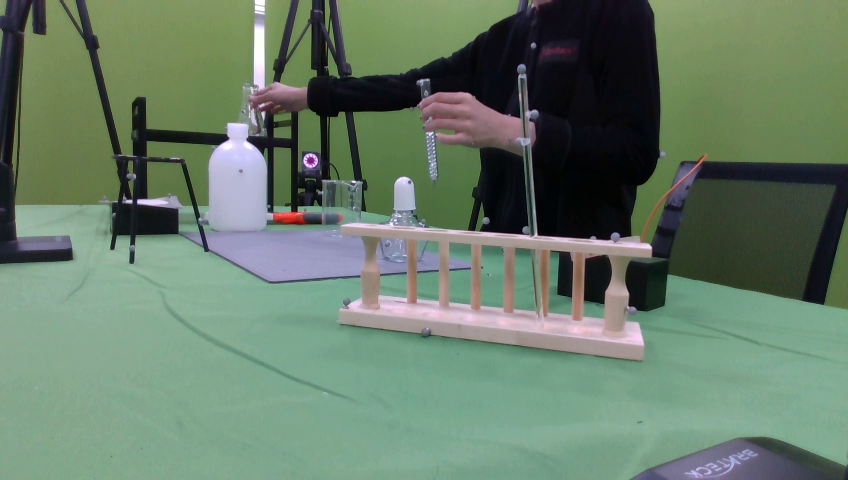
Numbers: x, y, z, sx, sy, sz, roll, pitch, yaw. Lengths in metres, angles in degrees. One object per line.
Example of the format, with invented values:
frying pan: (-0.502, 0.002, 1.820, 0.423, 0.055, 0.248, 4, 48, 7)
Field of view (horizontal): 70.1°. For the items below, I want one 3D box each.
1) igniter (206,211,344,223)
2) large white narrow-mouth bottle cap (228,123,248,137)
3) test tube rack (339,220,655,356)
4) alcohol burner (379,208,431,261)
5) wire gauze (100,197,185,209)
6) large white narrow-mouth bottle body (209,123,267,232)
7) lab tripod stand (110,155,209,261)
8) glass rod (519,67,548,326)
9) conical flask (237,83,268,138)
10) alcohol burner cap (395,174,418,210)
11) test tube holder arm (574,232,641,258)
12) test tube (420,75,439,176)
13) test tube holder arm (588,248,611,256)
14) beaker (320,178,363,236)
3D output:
igniter: (-0.302, -0.048, 1.249, 0.278, 0.025, 0.057, -2, -2, -26)
large white narrow-mouth bottle cap: (-0.338, -0.199, 1.097, 0.038, 0.024, 0.037, 2, 8, 0)
test tube rack: (0.056, 0.032, 0.495, 0.242, 0.085, 0.067, 4, 7, 15)
alcohol burner: (-0.027, -0.031, 0.838, 0.078, 0.119, 0.078, 0, 6, 0)
wire gauze: (-0.469, -0.062, 1.008, 0.126, 0.011, 0.121, -2, 8, -25)
large white narrow-mouth bottle body: (-0.340, -0.115, 1.109, 0.102, 0.194, 0.102, 2, 8, 0)
lab tripod stand: (-0.361, -0.046, 0.806, 0.148, 0.131, 0.148, 2, 5, 0)
glass rod: (0.084, -0.029, 0.459, 0.008, 0.199, 0.008, -7, 11, 2)
conical flask: (-0.402, -0.300, 1.406, 0.075, 0.122, 0.075, 1, 7, 0)
alcohol burner cap: (-0.026, -0.067, 0.833, 0.034, 0.048, 0.034, -2, 12, 1)
test tube holder arm: (0.202, 0.003, 0.651, 0.013, 0.015, 0.179, -4, 2, 36)
test tube: (0.009, -0.170, 0.905, 0.017, 0.150, 0.017, -6, 13, 2)
test tube holder arm: (0.180, 0.006, 0.611, 0.010, 0.015, 0.088, -4, 2, 36)
beaker: (-0.145, -0.059, 1.078, 0.074, 0.100, 0.083, -4, 10, -36)
